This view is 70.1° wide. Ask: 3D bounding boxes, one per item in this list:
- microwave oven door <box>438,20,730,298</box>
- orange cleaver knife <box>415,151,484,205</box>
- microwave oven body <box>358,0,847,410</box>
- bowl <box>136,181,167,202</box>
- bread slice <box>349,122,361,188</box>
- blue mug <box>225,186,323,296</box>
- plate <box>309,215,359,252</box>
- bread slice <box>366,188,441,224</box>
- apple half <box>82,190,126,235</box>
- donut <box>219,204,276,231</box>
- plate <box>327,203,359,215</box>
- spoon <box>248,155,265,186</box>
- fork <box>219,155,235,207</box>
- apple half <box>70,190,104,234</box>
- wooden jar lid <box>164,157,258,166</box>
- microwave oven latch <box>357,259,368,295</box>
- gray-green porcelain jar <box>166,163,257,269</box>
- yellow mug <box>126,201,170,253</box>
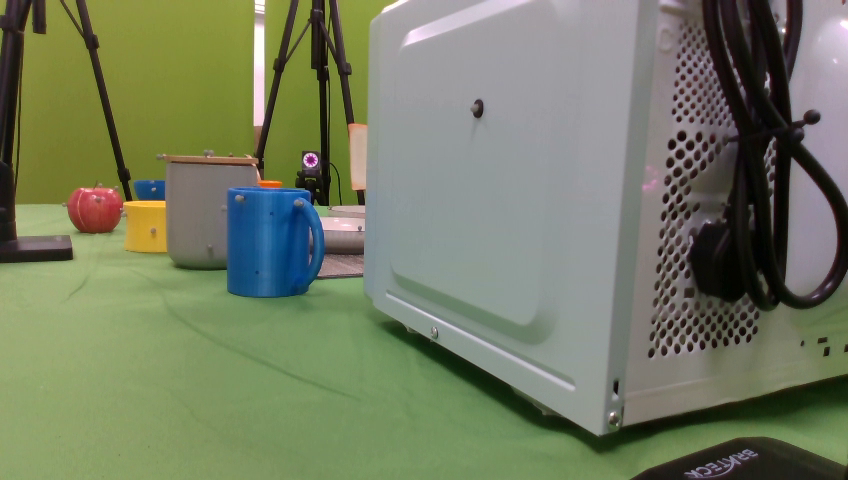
[{"bbox_3d":[0.181,-0.076,0.618,0.358,0.243,0.039,-2,8,-28],"label":"microwave oven door"},{"bbox_3d":[0.050,-0.105,1.118,0.012,0.077,0.212,0,-9,37],"label":"orange cleaver knife"},{"bbox_3d":[0.210,-0.051,0.471,0.444,0.260,0.324,-1,7,-28],"label":"microwave oven body"},{"bbox_3d":[-0.497,-0.076,1.221,0.151,0.077,0.151,2,8,0],"label":"bowl"},{"bbox_3d":[-0.051,-0.127,0.933,0.131,0.105,0.019,5,22,10],"label":"bread slice"},{"bbox_3d":[-0.148,0.000,0.618,0.116,0.106,0.083,7,9,33],"label":"blue mug"},{"bbox_3d":[-0.130,-0.011,0.945,0.208,0.039,0.207,2,8,0],"label":"plate"},{"bbox_3d":[-0.046,-0.063,1.137,0.107,0.018,0.134,-8,-16,-40],"label":"bread slice"},{"bbox_3d":[-0.516,-0.046,0.994,0.032,0.081,0.081,0,6,26],"label":"apple half"},{"bbox_3d":[-0.316,-0.039,1.083,0.099,0.048,0.099,2,7,0],"label":"donut"},{"bbox_3d":[-0.102,-0.053,1.299,0.209,0.038,0.209,2,8,0],"label":"plate"},{"bbox_3d":[-0.417,-0.150,1.543,0.042,0.193,0.021,-3,-35,-34],"label":"spoon"},{"bbox_3d":[-0.459,-0.134,1.415,0.028,0.018,0.207,0,-34,-24],"label":"fork"},{"bbox_3d":[-0.552,-0.047,1.010,0.053,0.074,0.081,0,10,26],"label":"apple half"},{"bbox_3d":[-0.261,-0.093,0.746,0.108,0.020,0.108,0,9,0],"label":"wooden jar lid"},{"bbox_3d":[-0.019,0.031,0.529,0.079,0.029,0.030,-1,7,-27],"label":"microwave oven latch"},{"bbox_3d":[-0.263,-0.031,0.754,0.106,0.126,0.106,2,7,0],"label":"gray-green porcelain jar"},{"bbox_3d":[-0.361,-0.019,0.866,0.130,0.064,0.100,6,9,27],"label":"yellow mug"}]
